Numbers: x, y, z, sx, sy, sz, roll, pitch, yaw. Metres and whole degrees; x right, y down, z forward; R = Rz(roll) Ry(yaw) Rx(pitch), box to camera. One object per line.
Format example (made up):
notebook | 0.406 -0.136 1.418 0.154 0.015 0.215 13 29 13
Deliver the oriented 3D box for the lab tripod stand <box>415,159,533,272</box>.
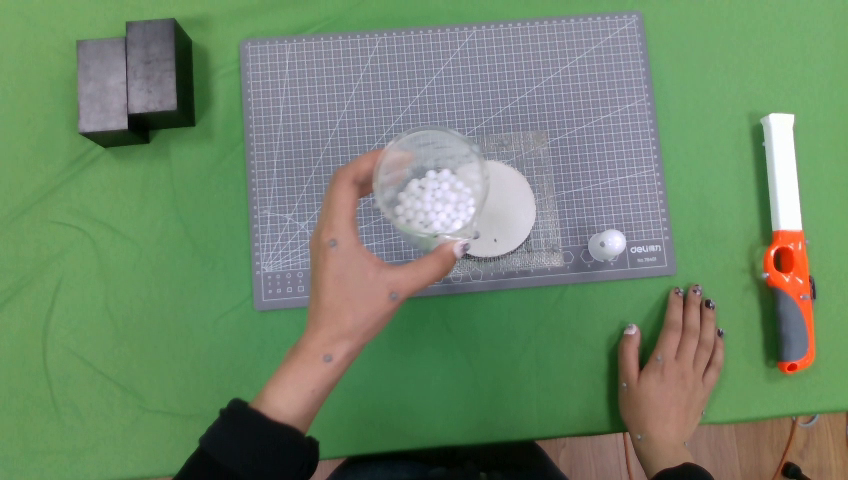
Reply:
lab tripod stand | 0.047 -0.022 0.586 0.148 0.132 0.148 0 82 1

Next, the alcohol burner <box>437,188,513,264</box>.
alcohol burner | 0.051 -0.017 0.596 0.078 0.119 0.077 0 81 -1

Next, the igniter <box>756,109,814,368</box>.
igniter | 0.383 -0.004 0.646 0.057 0.025 0.275 0 83 -11

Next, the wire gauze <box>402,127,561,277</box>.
wire gauze | 0.049 -0.034 0.520 0.125 0.011 0.121 -7 82 -3

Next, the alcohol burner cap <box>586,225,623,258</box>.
alcohol burner cap | 0.191 0.001 0.632 0.034 0.048 0.034 0 83 1

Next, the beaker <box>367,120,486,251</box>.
beaker | 0.007 -0.030 0.432 0.074 0.100 0.083 -35 82 -2
